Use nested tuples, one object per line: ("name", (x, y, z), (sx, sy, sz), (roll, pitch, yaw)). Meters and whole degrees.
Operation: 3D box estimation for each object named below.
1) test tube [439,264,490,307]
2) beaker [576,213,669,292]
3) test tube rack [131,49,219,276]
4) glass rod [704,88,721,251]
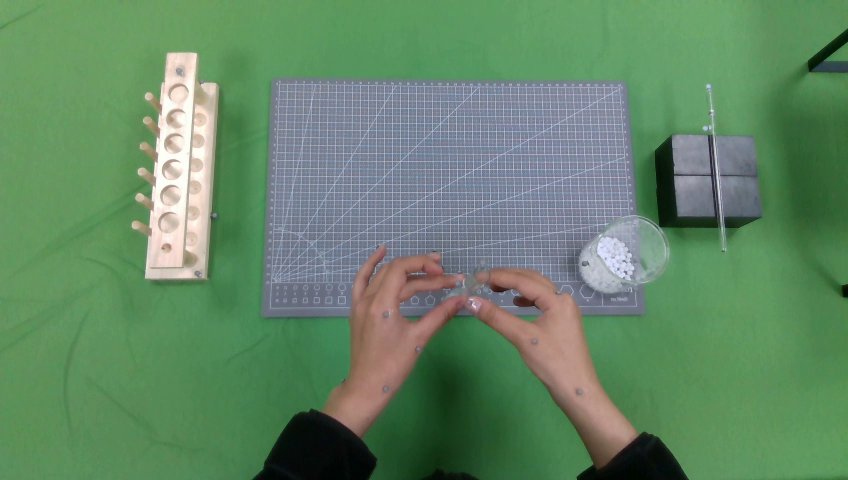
("test tube", (0.035, 0.046, 0.568), (0.017, 0.150, 0.017), (2, 75, -9))
("beaker", (0.214, 0.019, 0.680), (0.084, 0.100, 0.073), (2, 77, -1))
("test tube rack", (-0.285, -0.085, 0.688), (0.067, 0.085, 0.241), (0, 78, -2))
("glass rod", (0.337, -0.085, 0.707), (0.008, 0.008, 0.199), (2, 79, -2))
